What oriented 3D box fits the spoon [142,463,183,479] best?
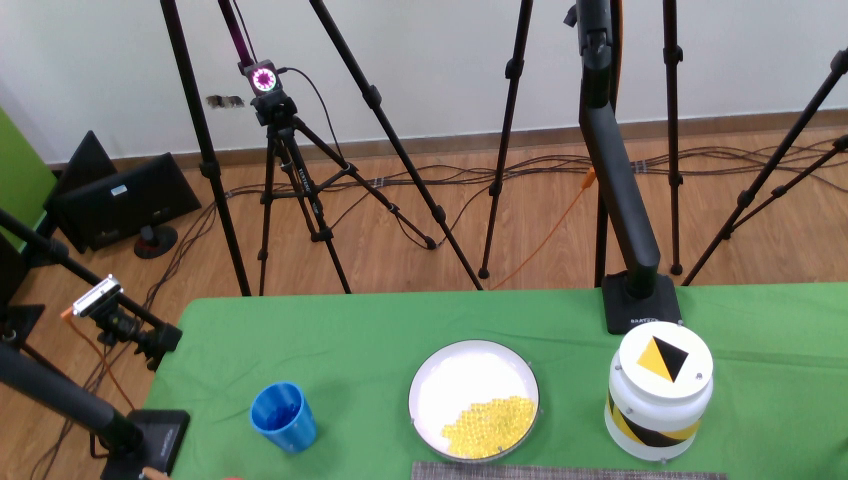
[{"bbox_3d":[-0.314,0.368,0.865,0.195,0.021,0.041,39,53,-14],"label":"spoon"}]

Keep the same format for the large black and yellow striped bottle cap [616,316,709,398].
[{"bbox_3d":[0.310,0.150,0.790,0.115,0.019,0.114,-7,47,8],"label":"large black and yellow striped bottle cap"}]

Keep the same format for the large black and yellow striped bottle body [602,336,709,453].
[{"bbox_3d":[0.323,0.205,0.854,0.130,0.186,0.129,-6,48,7],"label":"large black and yellow striped bottle body"}]

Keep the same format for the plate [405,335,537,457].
[{"bbox_3d":[0.075,0.248,0.966,0.209,0.038,0.207,-5,48,7],"label":"plate"}]

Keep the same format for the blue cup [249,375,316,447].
[{"bbox_3d":[-0.215,0.277,0.954,0.092,0.101,0.091,-7,48,8],"label":"blue cup"}]
